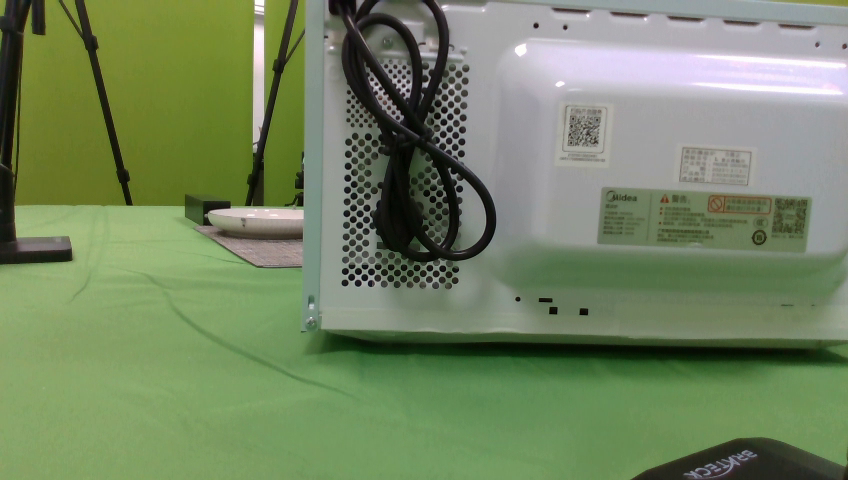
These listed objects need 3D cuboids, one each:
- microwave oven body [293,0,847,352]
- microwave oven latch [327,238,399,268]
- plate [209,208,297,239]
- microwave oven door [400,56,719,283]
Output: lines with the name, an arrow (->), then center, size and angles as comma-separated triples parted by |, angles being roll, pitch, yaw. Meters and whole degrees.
microwave oven body -> 0.122, -0.055, 0.550 | 0.442, 0.260, 0.325 | 3, 7, -5
microwave oven latch -> -0.069, 0.015, 0.694 | 0.079, 0.029, 0.030 | 3, 7, -3
plate -> -0.271, -0.029, 1.074 | 0.208, 0.039, 0.207 | 3, 7, 0
microwave oven door -> 0.155, -0.077, 0.698 | 0.356, 0.243, 0.039 | 2, 8, -5
